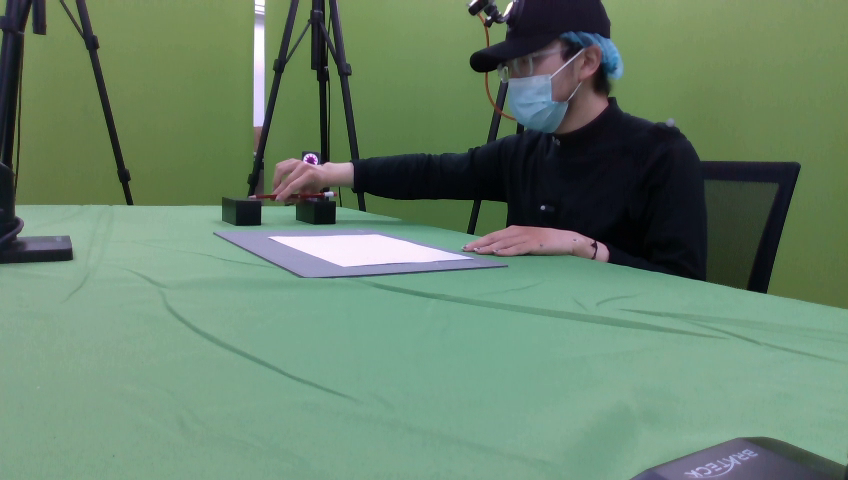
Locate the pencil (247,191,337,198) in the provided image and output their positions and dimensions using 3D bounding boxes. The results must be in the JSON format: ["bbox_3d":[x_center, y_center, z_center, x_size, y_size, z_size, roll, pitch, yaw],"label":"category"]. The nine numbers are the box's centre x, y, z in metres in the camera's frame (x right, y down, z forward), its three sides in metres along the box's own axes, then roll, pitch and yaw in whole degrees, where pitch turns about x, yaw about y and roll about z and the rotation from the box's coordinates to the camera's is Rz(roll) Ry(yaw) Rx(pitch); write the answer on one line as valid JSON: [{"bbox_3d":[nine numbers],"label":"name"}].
[{"bbox_3d":[-0.278,-0.096,1.288,0.195,0.012,0.012,-5,10,-28],"label":"pencil"}]
